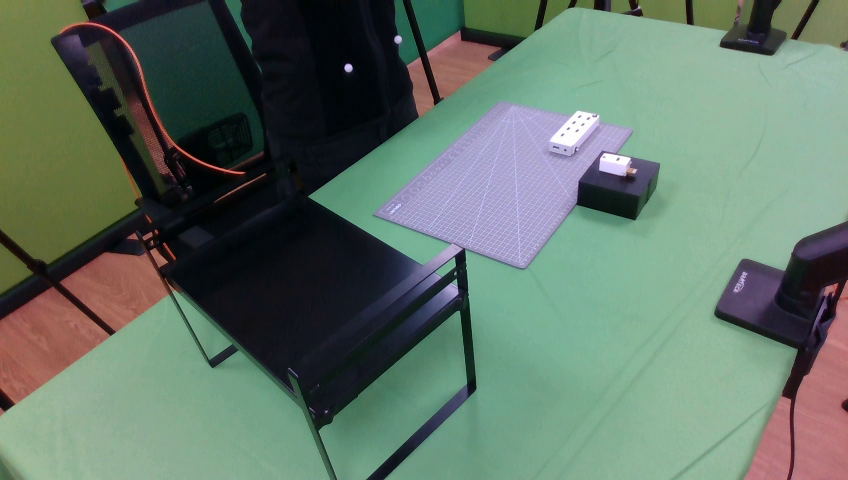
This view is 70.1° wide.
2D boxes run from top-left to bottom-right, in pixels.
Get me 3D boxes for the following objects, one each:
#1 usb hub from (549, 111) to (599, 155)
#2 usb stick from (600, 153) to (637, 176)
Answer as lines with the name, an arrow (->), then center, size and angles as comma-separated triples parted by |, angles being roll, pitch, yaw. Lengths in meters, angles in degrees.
usb hub -> 0.291, -0.207, 1.166 | 0.049, 0.025, 0.125 | 21, 49, 29
usb stick -> 0.320, -0.122, 0.990 | 0.059, 0.027, 0.021 | 21, 45, 26
